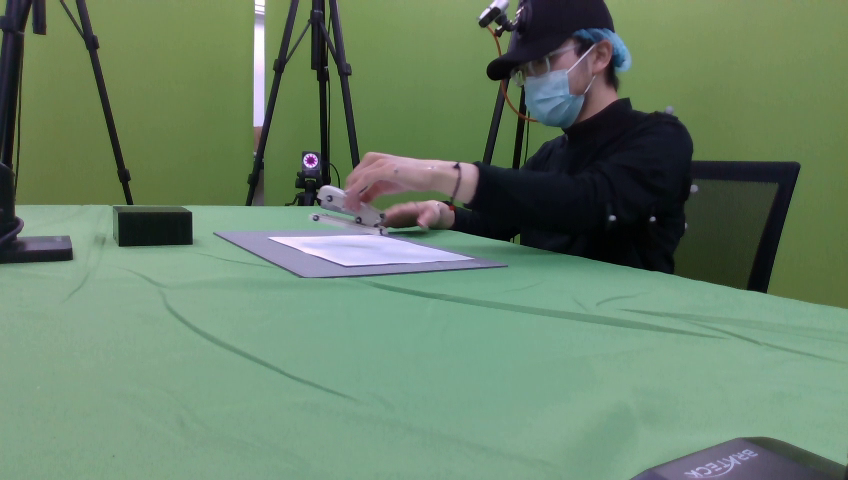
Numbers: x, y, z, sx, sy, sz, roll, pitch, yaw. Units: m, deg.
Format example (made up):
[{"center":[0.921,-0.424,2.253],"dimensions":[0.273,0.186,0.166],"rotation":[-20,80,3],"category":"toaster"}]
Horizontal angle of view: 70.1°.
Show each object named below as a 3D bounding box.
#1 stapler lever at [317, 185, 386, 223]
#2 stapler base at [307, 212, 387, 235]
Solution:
[{"center":[-0.116,-0.058,0.964],"dimensions":[0.118,0.040,0.027],"rotation":[15,10,17],"category":"stapler lever"},{"center":[-0.123,-0.033,0.968],"dimensions":[0.130,0.024,0.041],"rotation":[14,10,18],"category":"stapler base"}]
